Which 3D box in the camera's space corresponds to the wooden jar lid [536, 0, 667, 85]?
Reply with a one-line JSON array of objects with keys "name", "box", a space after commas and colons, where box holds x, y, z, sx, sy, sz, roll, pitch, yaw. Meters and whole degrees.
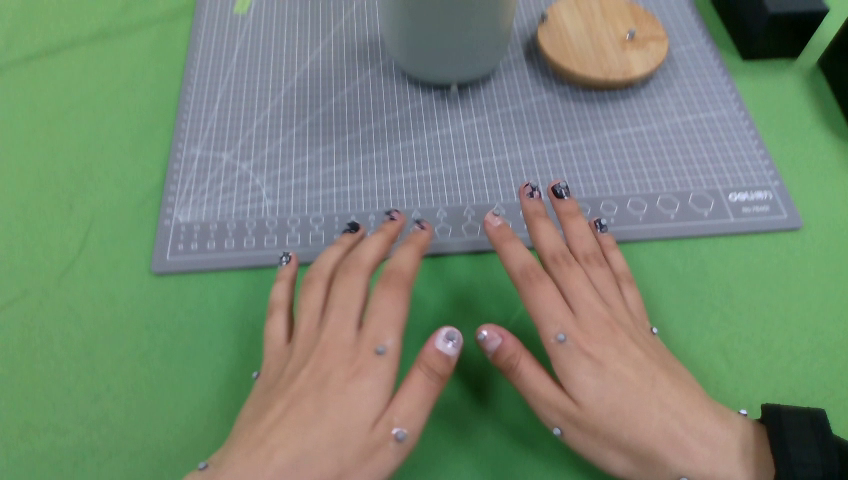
[{"name": "wooden jar lid", "box": [0.147, -0.169, 0.509, 0.108, 0.021, 0.107, 0, 58, 0]}]

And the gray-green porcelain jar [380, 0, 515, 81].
[{"name": "gray-green porcelain jar", "box": [0.018, -0.195, 0.459, 0.106, 0.127, 0.105, 1, 59, -1]}]
